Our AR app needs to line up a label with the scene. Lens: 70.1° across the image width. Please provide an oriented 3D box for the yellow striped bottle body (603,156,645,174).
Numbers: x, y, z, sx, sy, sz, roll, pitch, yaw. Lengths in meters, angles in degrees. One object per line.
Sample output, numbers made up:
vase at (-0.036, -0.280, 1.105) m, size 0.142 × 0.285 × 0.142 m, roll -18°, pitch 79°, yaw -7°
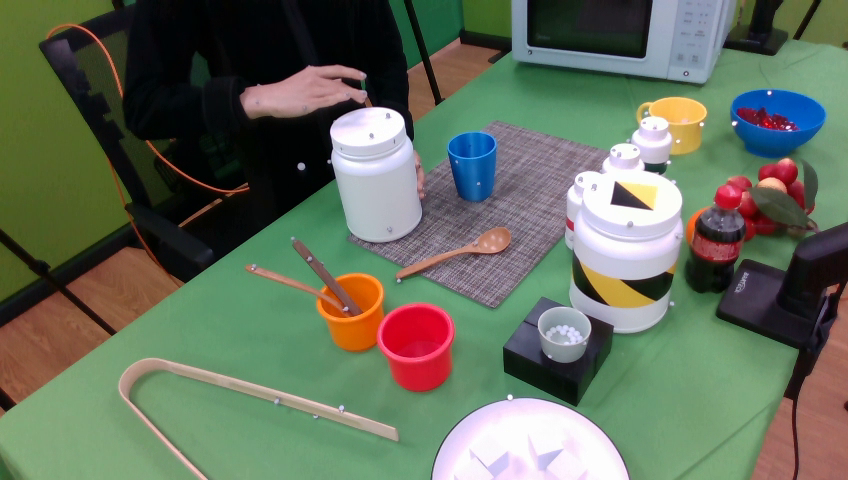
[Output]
yellow striped bottle body at (0.313, -0.089, 0.956) m, size 0.063 × 0.121 × 0.062 m, roll -4°, pitch 40°, yaw 4°

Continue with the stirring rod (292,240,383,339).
stirring rod at (-0.118, 0.068, 0.825) m, size 0.176 × 0.006 × 0.014 m, roll 49°, pitch 59°, yaw -3°

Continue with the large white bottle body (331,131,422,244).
large white bottle body at (-0.076, -0.101, 0.975) m, size 0.130 × 0.185 × 0.130 m, roll -4°, pitch 40°, yaw 4°

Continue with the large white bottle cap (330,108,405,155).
large white bottle cap at (-0.086, -0.166, 0.919) m, size 0.115 × 0.018 × 0.114 m, roll -4°, pitch 40°, yaw 4°

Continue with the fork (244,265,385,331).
fork at (-0.142, 0.078, 0.806) m, size 0.209 × 0.018 × 0.028 m, roll 30°, pitch 32°, yaw -23°

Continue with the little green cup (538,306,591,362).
little green cup at (0.167, 0.114, 0.721) m, size 0.061 × 0.039 × 0.061 m, roll -4°, pitch 44°, yaw 5°

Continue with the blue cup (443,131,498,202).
blue cup at (0.087, -0.122, 1.040) m, size 0.092 × 0.101 × 0.092 m, roll -5°, pitch 42°, yaw 5°

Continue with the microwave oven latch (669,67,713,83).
microwave oven latch at (0.556, -0.349, 1.261) m, size 0.078 × 0.029 × 0.030 m, roll 16°, pitch 46°, yaw 27°

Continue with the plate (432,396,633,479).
plate at (0.112, 0.261, 0.634) m, size 0.209 × 0.038 × 0.208 m, roll -5°, pitch 40°, yaw 4°

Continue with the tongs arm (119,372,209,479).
tongs arm at (-0.258, 0.257, 0.700) m, size 0.384 × 0.028 × 0.028 m, roll 24°, pitch 55°, yaw 34°

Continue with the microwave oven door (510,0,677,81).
microwave oven door at (0.354, -0.478, 1.290) m, size 0.353 × 0.245 × 0.039 m, roll 15°, pitch 45°, yaw 25°

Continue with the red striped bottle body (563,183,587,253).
red striped bottle body at (0.246, -0.041, 0.910) m, size 0.063 × 0.120 × 0.062 m, roll -2°, pitch 38°, yaw 2°

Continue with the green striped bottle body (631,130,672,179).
green striped bottle body at (0.375, -0.140, 1.007) m, size 0.063 × 0.120 × 0.063 m, roll -5°, pitch 40°, yaw 4°

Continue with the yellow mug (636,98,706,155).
yellow mug at (0.453, -0.218, 1.128) m, size 0.100 × 0.064 × 0.129 m, roll -34°, pitch 46°, yaw -27°

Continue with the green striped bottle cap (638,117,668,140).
green striped bottle cap at (0.369, -0.180, 0.974) m, size 0.044 × 0.020 × 0.044 m, roll -4°, pitch 41°, yaw 4°

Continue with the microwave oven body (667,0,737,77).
microwave oven body at (0.462, -0.552, 1.368) m, size 0.439 × 0.261 × 0.326 m, roll 14°, pitch 45°, yaw 26°

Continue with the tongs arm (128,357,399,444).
tongs arm at (-0.213, 0.205, 0.755) m, size 0.382 × 0.026 × 0.051 m, roll 12°, pitch 46°, yaw 23°

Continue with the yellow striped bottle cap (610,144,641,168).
yellow striped bottle cap at (0.307, -0.128, 0.923) m, size 0.044 × 0.019 × 0.044 m, roll -6°, pitch 40°, yaw 5°

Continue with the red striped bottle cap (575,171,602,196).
red striped bottle cap at (0.242, -0.081, 0.876) m, size 0.044 × 0.018 × 0.044 m, roll -5°, pitch 44°, yaw 5°

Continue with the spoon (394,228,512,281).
spoon at (0.045, 0.024, 0.935) m, size 0.194 × 0.022 × 0.041 m, roll -18°, pitch 66°, yaw -11°

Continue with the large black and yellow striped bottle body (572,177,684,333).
large black and yellow striped bottle body at (0.262, 0.017, 0.788) m, size 0.131 × 0.185 × 0.130 m, roll -5°, pitch 40°, yaw 4°

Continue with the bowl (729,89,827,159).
bowl at (0.615, -0.197, 1.069) m, size 0.151 × 0.077 × 0.150 m, roll -5°, pitch 40°, yaw 5°

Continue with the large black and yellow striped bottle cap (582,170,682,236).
large black and yellow striped bottle cap at (0.252, -0.048, 0.735) m, size 0.115 × 0.019 × 0.114 m, roll -3°, pitch 40°, yaw 3°
